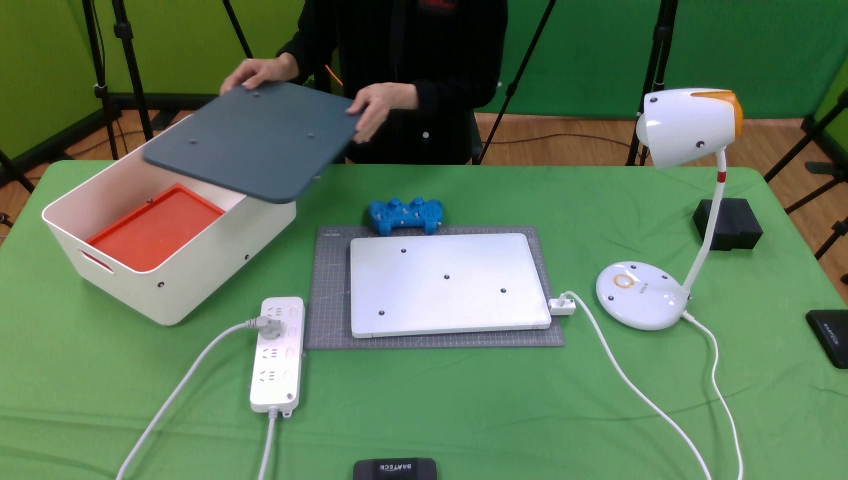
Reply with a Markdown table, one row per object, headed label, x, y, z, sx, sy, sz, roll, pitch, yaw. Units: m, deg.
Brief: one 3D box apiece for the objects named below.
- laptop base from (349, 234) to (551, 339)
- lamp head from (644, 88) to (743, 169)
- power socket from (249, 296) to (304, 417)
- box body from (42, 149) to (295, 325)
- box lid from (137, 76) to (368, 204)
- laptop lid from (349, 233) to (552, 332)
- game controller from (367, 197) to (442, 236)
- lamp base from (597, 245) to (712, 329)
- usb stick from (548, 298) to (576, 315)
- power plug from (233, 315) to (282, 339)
| label | x | y | z | sx | sy | sz | roll | pitch | yaw |
| --- | --- | --- | --- | --- | --- | --- | --- | --- | --- |
| laptop base | 0.040 | 0.080 | 1.125 | 0.355 | 0.023 | 0.234 | -2 | 43 | -6 |
| lamp head | 0.380 | -0.161 | 0.851 | 0.122 | 0.113 | 0.112 | -4 | 42 | 25 |
| power socket | -0.239 | 0.182 | 0.996 | 0.072 | 0.033 | 0.225 | -2 | 47 | -5 |
| box body | -0.437 | -0.046 | 1.110 | 0.253 | 0.161 | 0.363 | 24 | 49 | 19 |
| box lid | -0.278 | -0.188 | 1.052 | 0.263 | 0.015 | 0.370 | 17 | 39 | 9 |
| laptop lid | 0.040 | 0.071 | 1.118 | 0.357 | 0.013 | 0.240 | -1 | 44 | -5 |
| game controller | -0.037 | -0.056 | 1.231 | 0.155 | 0.052 | 0.096 | -2 | 48 | -6 |
| lamp base | 0.418 | 0.051 | 1.072 | 0.179 | 0.181 | 0.160 | 22 | 49 | 13 |
| usb stick | 0.240 | 0.120 | 1.086 | 0.059 | 0.027 | 0.021 | -2 | 51 | -2 |
| power plug | -0.271 | 0.144 | 0.999 | 0.072 | 0.053 | 0.035 | 6 | 47 | 3 |
